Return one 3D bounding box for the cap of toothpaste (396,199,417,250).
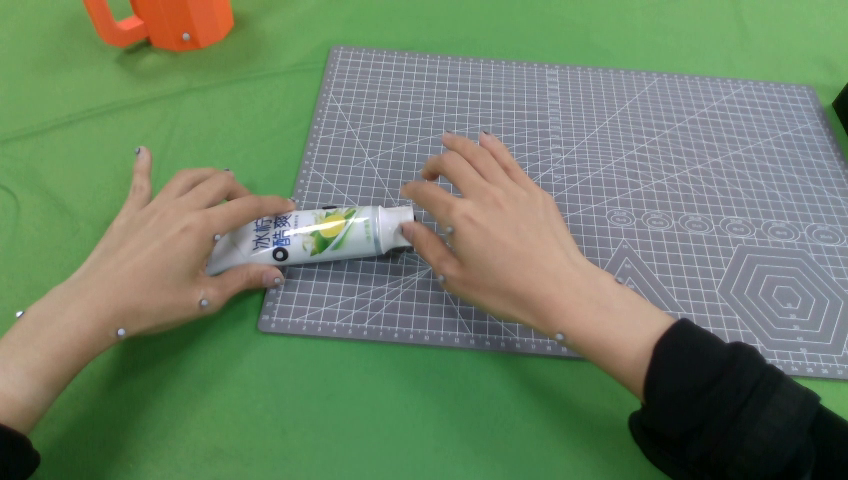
[{"bbox_3d":[-0.012,-0.011,0.422,0.011,0.037,0.037,-10,55,-8],"label":"cap of toothpaste"}]

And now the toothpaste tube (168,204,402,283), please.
[{"bbox_3d":[-0.092,-0.004,0.421,0.165,0.035,0.054,-6,52,-3],"label":"toothpaste tube"}]

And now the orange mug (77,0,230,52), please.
[{"bbox_3d":[-0.239,-0.225,0.529,0.083,0.101,0.126,40,57,23],"label":"orange mug"}]
